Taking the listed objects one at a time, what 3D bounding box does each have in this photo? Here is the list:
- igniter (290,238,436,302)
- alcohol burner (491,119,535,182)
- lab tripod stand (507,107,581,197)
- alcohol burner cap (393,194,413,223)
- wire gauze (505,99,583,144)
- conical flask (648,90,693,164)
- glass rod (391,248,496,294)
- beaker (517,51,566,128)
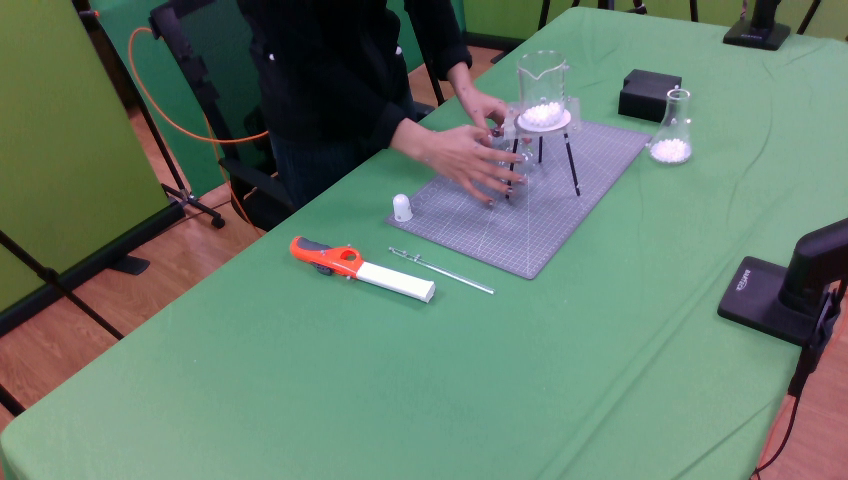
[{"bbox_3d":[-0.106,0.044,0.949,0.274,0.025,0.057,16,56,27],"label":"igniter"},{"bbox_3d":[0.157,-0.162,1.070,0.078,0.119,0.077,-6,42,6],"label":"alcohol burner"},{"bbox_3d":[0.201,-0.151,1.033,0.148,0.132,0.147,-6,38,6],"label":"lab tripod stand"},{"bbox_3d":[-0.038,-0.056,1.038,0.034,0.048,0.033,-5,40,5],"label":"alcohol burner cap"},{"bbox_3d":[0.194,-0.199,0.988,0.121,0.011,0.124,-3,41,13],"label":"wire gauze"},{"bbox_3d":[0.437,-0.199,1.057,0.075,0.122,0.075,-5,40,5],"label":"conical flask"},{"bbox_3d":[0.026,0.046,0.937,0.198,0.008,0.008,21,50,31],"label":"glass rod"},{"bbox_3d":[0.186,-0.235,0.957,0.073,0.101,0.084,4,42,18],"label":"beaker"}]
